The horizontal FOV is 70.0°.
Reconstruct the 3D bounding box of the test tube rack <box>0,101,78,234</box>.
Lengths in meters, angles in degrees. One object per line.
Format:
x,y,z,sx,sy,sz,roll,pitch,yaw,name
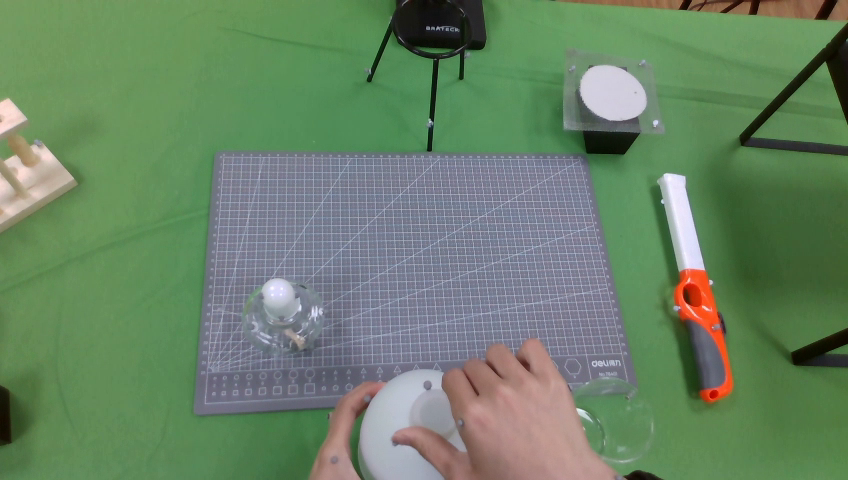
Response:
-0.481,-0.027,0.587,0.066,0.085,0.242,44,67,13,test tube rack

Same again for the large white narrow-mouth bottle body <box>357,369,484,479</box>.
-0.004,0.163,0.505,0.102,0.196,0.101,3,63,-6,large white narrow-mouth bottle body

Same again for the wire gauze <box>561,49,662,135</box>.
0.229,-0.183,0.751,0.121,0.011,0.124,6,64,-5,wire gauze

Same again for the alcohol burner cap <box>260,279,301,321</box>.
-0.130,0.052,0.540,0.034,0.048,0.033,1,70,-4,alcohol burner cap

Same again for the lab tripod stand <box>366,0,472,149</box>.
0.002,-0.203,0.714,0.149,0.132,0.147,4,65,-8,lab tripod stand

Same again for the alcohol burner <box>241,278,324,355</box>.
-0.134,0.067,0.573,0.078,0.120,0.077,4,63,-8,alcohol burner

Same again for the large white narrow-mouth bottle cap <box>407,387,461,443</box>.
0.007,0.123,0.428,0.038,0.024,0.037,3,64,-7,large white narrow-mouth bottle cap

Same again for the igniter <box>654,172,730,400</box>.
0.306,0.045,0.697,0.057,0.025,0.274,6,64,-17,igniter

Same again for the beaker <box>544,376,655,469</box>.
0.157,0.175,0.575,0.084,0.101,0.073,30,64,8,beaker
